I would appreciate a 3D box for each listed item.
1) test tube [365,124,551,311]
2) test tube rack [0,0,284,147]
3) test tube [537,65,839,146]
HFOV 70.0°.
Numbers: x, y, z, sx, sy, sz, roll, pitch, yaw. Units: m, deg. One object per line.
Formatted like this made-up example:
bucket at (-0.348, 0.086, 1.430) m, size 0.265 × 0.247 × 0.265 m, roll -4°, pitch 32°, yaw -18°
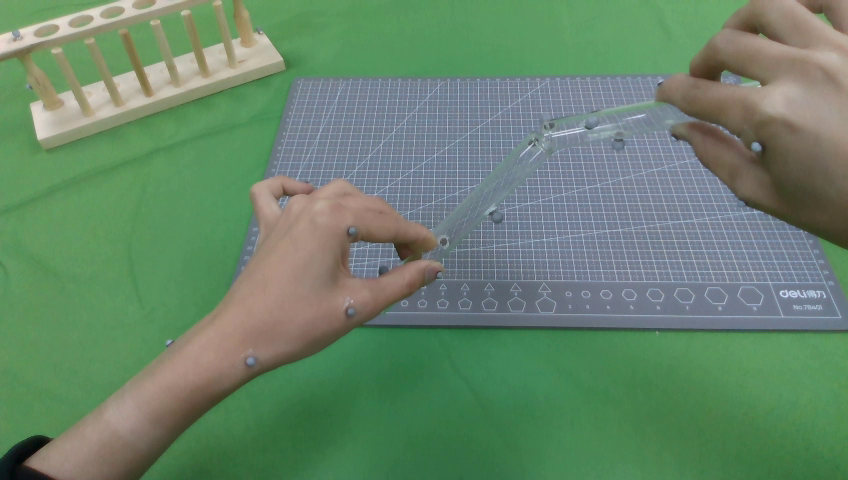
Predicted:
test tube at (0.013, -0.006, 0.333) m, size 0.017 × 0.151 × 0.017 m, roll 30°, pitch 33°, yaw -22°
test tube rack at (-0.270, -0.183, 0.591) m, size 0.242 × 0.086 × 0.066 m, roll -24°, pitch 53°, yaw -17°
test tube at (0.130, -0.066, 0.297) m, size 0.150 × 0.017 × 0.017 m, roll -10°, pitch 50°, yaw -2°
